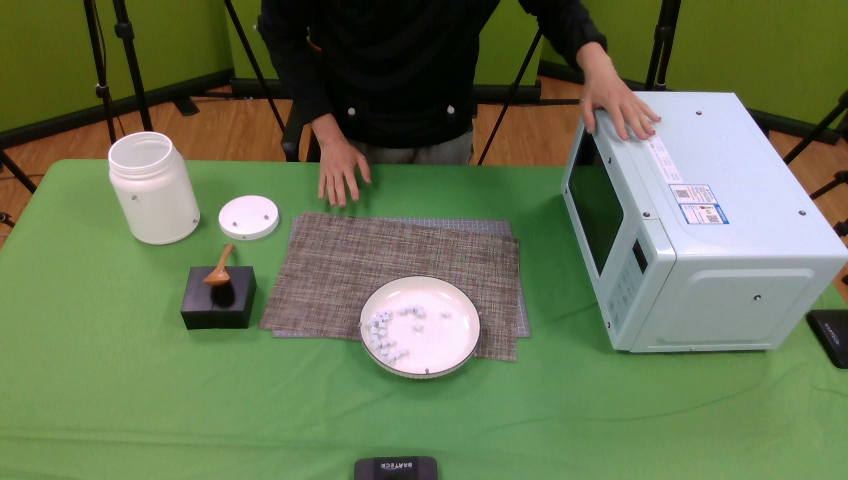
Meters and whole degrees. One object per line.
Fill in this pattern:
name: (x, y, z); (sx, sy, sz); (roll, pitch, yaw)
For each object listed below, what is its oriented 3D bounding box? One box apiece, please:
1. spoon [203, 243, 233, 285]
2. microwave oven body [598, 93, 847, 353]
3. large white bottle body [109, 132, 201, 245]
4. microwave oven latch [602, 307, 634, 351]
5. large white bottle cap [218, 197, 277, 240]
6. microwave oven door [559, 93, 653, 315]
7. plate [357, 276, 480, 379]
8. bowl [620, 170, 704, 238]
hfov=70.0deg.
spoon: (-0.360, 0.039, 1.087); (0.041, 0.022, 0.192); (-5, 24, -7)
microwave oven body: (0.475, -0.041, 1.109); (0.326, 0.261, 0.438); (-1, 45, -4)
large white bottle body: (-0.506, -0.097, 1.141); (0.131, 0.185, 0.130); (2, 46, -2)
microwave oven latch: (0.332, 0.153, 1.044); (0.030, 0.029, 0.078); (-1, 45, -4)
large white bottle cap: (-0.354, -0.045, 1.220); (0.115, 0.018, 0.114); (2, 45, -2)
microwave oven door: (0.327, -0.074, 1.123); (0.039, 0.245, 0.353); (0, 46, -5)
plate: (-0.010, 0.151, 1.038); (0.209, 0.038, 0.208); (2, 47, -2)
bowl: (0.445, -0.057, 1.166); (0.151, 0.077, 0.150); (2, 46, -1)
